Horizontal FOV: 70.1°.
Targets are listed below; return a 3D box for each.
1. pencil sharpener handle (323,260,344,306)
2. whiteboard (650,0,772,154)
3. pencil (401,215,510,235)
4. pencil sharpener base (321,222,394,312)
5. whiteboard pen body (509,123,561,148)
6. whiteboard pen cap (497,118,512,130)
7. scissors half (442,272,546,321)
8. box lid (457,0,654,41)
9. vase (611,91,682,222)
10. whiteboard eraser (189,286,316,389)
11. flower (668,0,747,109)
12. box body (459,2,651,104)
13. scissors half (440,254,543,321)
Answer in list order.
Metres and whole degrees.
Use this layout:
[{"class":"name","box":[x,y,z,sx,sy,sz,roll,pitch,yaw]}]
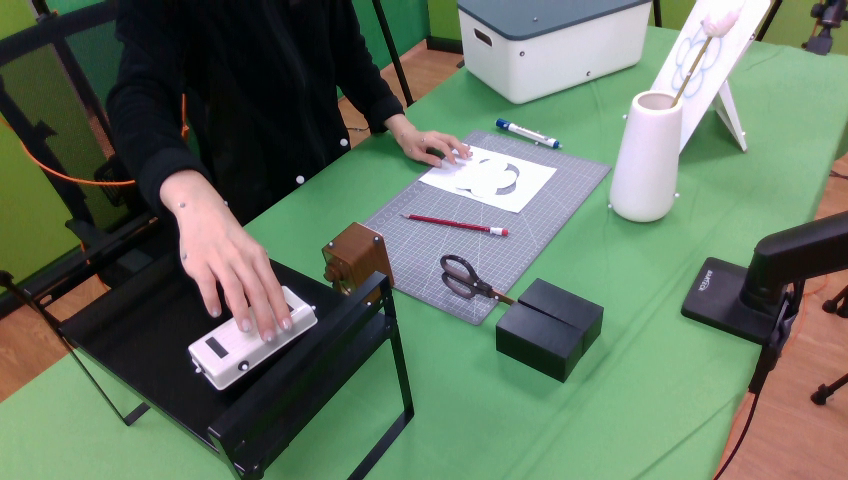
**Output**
[{"class":"pencil sharpener handle","box":[-0.131,0.062,0.839,0.035,0.068,0.031,28,55,29]},{"class":"whiteboard","box":[0.543,-0.298,1.076,0.144,0.305,0.216,12,40,-7]},{"class":"pencil","box":[0.049,-0.027,1.007,0.193,0.012,0.012,10,43,21]},{"class":"pencil sharpener base","box":[-0.096,0.041,0.873,0.061,0.107,0.077,26,54,32]},{"class":"whiteboard pen body","box":[0.209,-0.211,1.195,0.139,0.017,0.017,30,52,33]},{"class":"whiteboard pen cap","box":[0.165,-0.235,1.227,0.033,0.018,0.018,31,53,31]},{"class":"scissors half","box":[0.094,0.080,0.838,0.173,0.040,0.013,19,46,39]},{"class":"box lid","box":[0.285,-0.522,1.323,0.373,0.015,0.261,-22,43,-16]},{"class":"vase","box":[0.348,-0.125,0.935,0.098,0.201,0.097,-3,40,3]},{"class":"whiteboard eraser","box":[-0.166,0.095,0.593,0.113,0.042,0.055,-36,47,-29]},{"class":"flower","box":[0.354,-0.187,0.879,0.038,0.362,0.044,30,48,14]},{"class":"box body","box":[0.291,-0.465,1.371,0.365,0.161,0.252,-22,42,-16]},{"class":"scissors half","box":[0.092,0.065,0.825,0.174,0.040,0.013,32,58,25]}]
